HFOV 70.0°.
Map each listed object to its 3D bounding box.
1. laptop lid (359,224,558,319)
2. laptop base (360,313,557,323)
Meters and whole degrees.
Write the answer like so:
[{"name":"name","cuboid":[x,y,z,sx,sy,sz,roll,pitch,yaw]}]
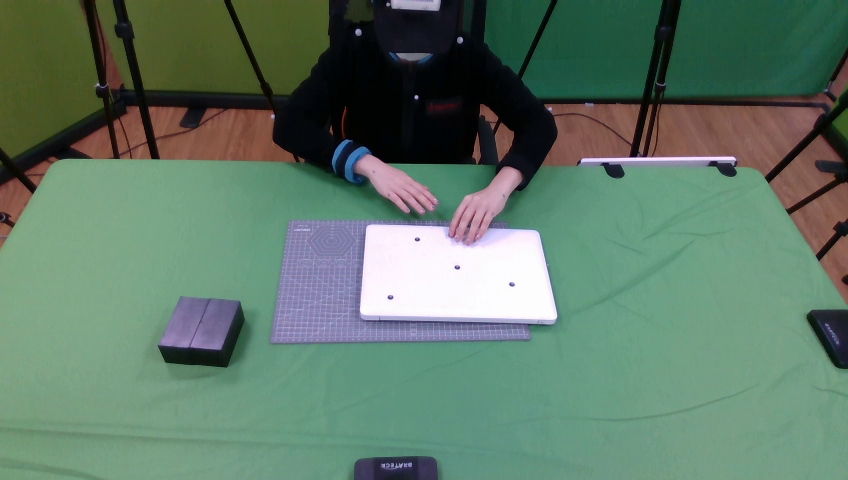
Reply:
[{"name":"laptop lid","cuboid":[0.061,0.053,1.137,0.357,0.013,0.240,3,44,-2]},{"name":"laptop base","cuboid":[0.061,0.063,1.145,0.354,0.023,0.234,2,43,-3]}]
